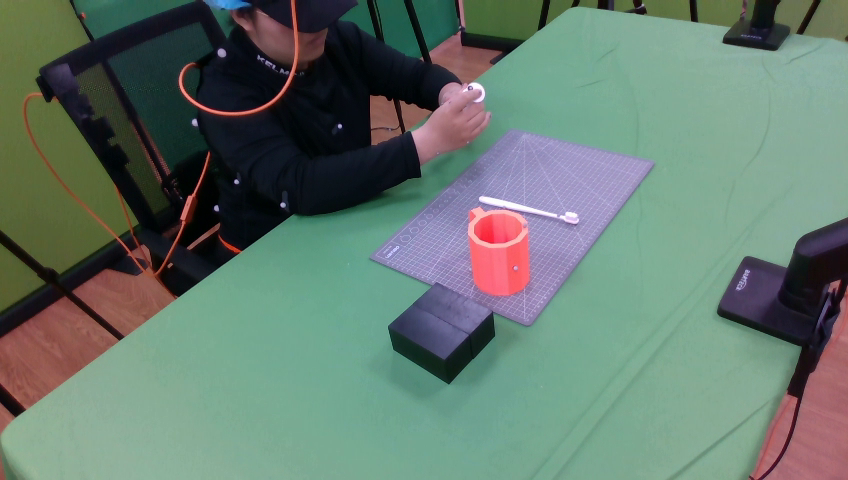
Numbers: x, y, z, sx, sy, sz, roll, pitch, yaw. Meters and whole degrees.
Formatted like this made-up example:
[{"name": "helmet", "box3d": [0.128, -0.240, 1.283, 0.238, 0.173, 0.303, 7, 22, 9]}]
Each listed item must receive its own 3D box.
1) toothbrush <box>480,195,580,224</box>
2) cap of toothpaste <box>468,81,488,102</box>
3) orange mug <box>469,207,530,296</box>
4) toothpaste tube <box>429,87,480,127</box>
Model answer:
[{"name": "toothbrush", "box3d": [0.175, -0.054, 1.016, 0.180, 0.017, 0.014, 15, 58, 28]}, {"name": "cap of toothpaste", "box3d": [0.090, -0.253, 1.035, 0.037, 0.037, 0.011, -27, 2, -19]}, {"name": "orange mug", "box3d": [0.104, 0.008, 0.894, 0.084, 0.101, 0.125, -22, 46, -14]}, {"name": "toothpaste tube", "box3d": [0.062, -0.244, 1.105, 0.055, 0.034, 0.164, -28, 4, -25]}]
